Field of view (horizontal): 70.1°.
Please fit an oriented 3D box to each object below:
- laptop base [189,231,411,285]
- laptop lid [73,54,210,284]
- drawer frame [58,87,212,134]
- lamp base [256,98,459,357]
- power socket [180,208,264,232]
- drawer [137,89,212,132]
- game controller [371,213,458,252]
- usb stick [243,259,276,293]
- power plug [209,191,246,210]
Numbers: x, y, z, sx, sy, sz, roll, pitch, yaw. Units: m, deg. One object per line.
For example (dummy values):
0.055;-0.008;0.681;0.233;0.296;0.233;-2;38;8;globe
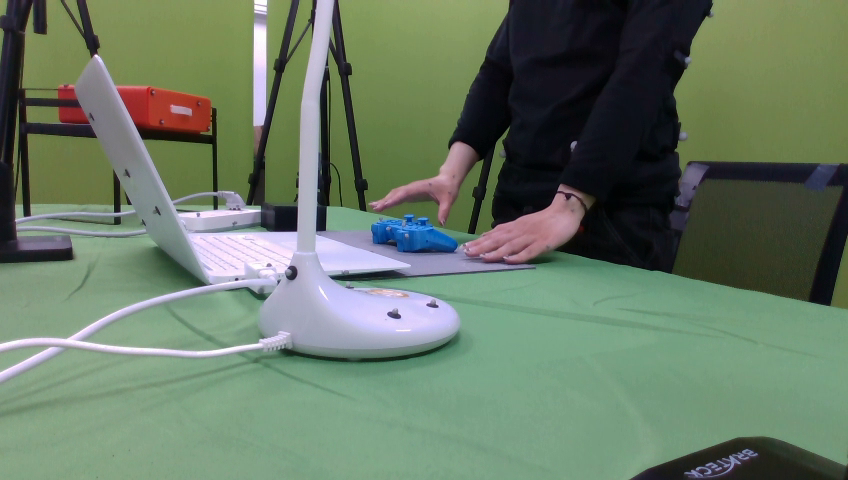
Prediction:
-0.204;0.019;0.807;0.237;0.023;0.352;0;7;-33;laptop base
-0.341;-0.079;0.704;0.013;0.242;0.355;-30;23;-26;laptop lid
-0.593;-0.268;1.260;0.213;0.082;0.202;4;8;14;drawer frame
-0.055;-0.013;0.463;0.160;0.180;0.180;6;11;27;lamp base
-0.381;-0.038;1.128;0.072;0.032;0.227;4;8;16;power socket
-0.588;-0.267;1.260;0.211;0.073;0.195;3;8;15;drawer
-0.021;-0.014;0.979;0.097;0.051;0.154;-7;11;-28;game controller
-0.166;0.035;0.604;0.021;0.027;0.059;-8;8;-28;usb stick
-0.388;-0.071;1.204;0.072;0.052;0.035;4;8;25;power plug
